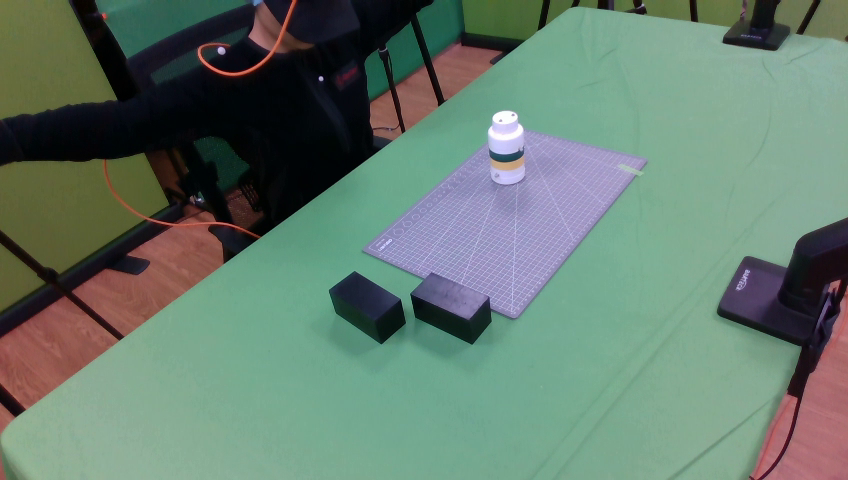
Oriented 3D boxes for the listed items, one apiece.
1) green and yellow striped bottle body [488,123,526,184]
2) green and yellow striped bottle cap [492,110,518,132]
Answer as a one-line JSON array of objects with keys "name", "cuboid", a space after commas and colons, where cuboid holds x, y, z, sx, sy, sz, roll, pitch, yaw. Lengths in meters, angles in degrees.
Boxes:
[{"name": "green and yellow striped bottle body", "cuboid": [0.147, -0.163, 1.067, 0.063, 0.120, 0.063, -5, 40, 5]}, {"name": "green and yellow striped bottle cap", "cuboid": [0.139, -0.203, 1.033, 0.045, 0.020, 0.045, -4, 41, 4]}]
